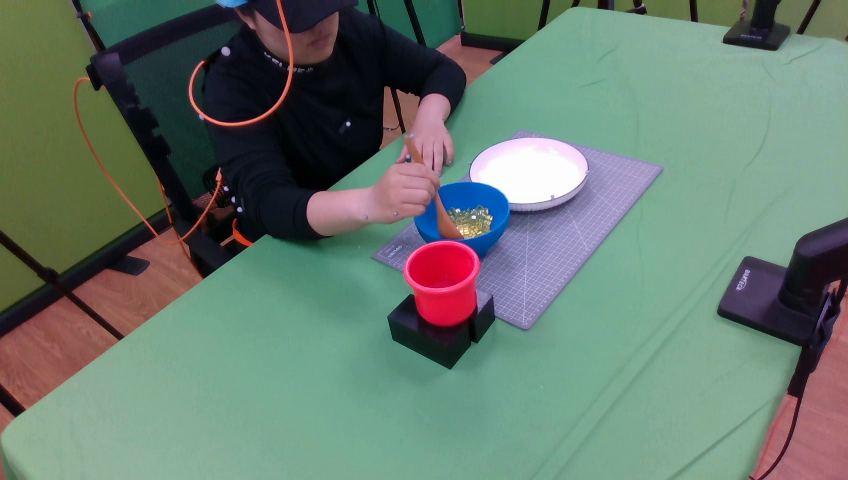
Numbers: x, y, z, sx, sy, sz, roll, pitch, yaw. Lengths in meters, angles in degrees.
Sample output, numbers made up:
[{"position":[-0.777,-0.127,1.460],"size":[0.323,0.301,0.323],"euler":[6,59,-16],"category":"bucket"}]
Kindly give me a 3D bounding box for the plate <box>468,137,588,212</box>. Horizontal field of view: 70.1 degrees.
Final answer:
[{"position":[0.182,-0.112,1.064],"size":[0.207,0.039,0.206],"euler":[-5,40,5],"category":"plate"}]

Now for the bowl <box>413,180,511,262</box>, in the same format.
[{"position":[0.062,-0.019,0.945],"size":[0.151,0.077,0.150],"euler":[-5,40,5],"category":"bowl"}]

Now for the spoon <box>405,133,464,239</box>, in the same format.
[{"position":[0.014,-0.065,0.856],"size":[0.041,0.194,0.022],"euler":[0,33,41],"category":"spoon"}]
